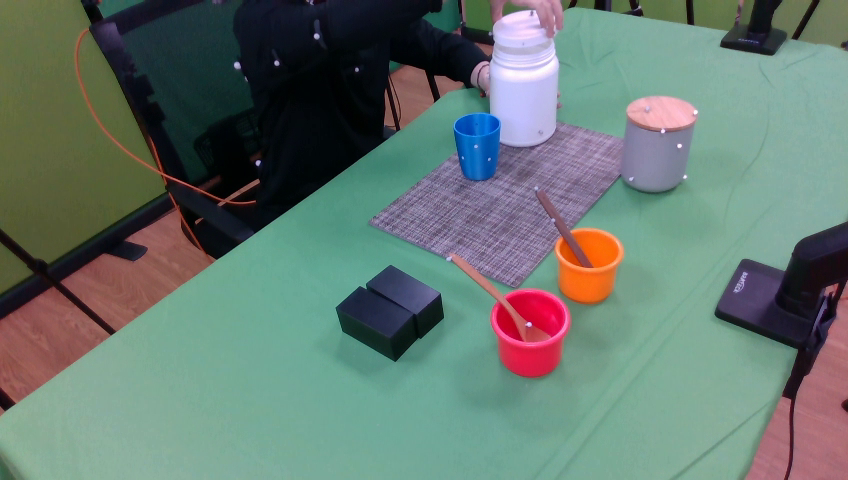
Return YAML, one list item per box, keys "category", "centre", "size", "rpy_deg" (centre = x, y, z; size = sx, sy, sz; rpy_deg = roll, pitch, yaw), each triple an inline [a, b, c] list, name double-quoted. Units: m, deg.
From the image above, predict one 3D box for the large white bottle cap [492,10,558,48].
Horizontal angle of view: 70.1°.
- category: "large white bottle cap"
  centre: [0.178, -0.375, 1.070]
  size: [0.114, 0.018, 0.114]
  rpy_deg: [-8, 42, 8]

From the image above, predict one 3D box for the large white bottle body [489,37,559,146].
- category: "large white bottle body"
  centre: [0.189, -0.288, 1.152]
  size: [0.130, 0.185, 0.130]
  rpy_deg: [-4, 41, 4]

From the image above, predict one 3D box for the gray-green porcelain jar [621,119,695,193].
- category: "gray-green porcelain jar"
  centre: [0.389, -0.152, 1.016]
  size: [0.106, 0.127, 0.105]
  rpy_deg: [-4, 40, 4]

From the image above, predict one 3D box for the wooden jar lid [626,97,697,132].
- category: "wooden jar lid"
  centre: [0.381, -0.198, 0.976]
  size: [0.108, 0.021, 0.108]
  rpy_deg: [-2, 40, 3]

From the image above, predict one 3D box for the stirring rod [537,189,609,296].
- category: "stirring rod"
  centre: [0.210, 0.003, 0.855]
  size: [0.014, 0.006, 0.176]
  rpy_deg: [-32, 88, -30]

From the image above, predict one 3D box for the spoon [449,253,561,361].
- category: "spoon"
  centre: [0.103, 0.083, 0.769]
  size: [0.194, 0.021, 0.042]
  rpy_deg: [47, 51, -7]

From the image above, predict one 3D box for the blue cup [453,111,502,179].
- category: "blue cup"
  centre: [0.097, -0.166, 1.088]
  size: [0.092, 0.100, 0.092]
  rpy_deg: [-3, 41, 3]
